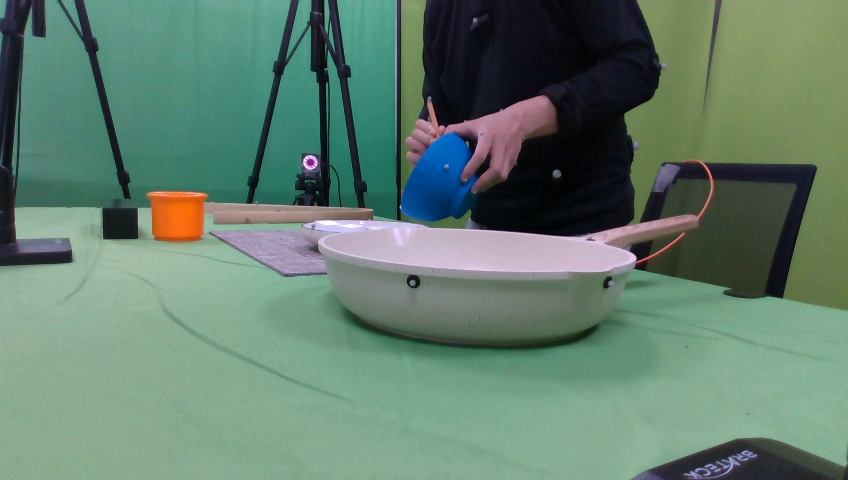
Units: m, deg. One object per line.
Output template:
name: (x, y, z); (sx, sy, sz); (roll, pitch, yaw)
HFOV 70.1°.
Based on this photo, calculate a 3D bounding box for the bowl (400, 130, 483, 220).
bowl: (0.038, -0.085, 0.938); (0.076, 0.151, 0.152); (33, 17, 17)

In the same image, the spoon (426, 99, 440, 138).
spoon: (0.020, -0.147, 0.960); (0.021, 0.193, 0.042); (-10, -29, 11)

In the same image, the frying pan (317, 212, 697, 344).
frying pan: (0.133, 0.013, 0.629); (0.490, 0.102, 0.305); (-12, 14, -31)

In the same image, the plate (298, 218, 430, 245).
plate: (-0.091, -0.006, 0.949); (0.208, 0.039, 0.207); (2, 7, 0)

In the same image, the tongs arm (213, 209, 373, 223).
tongs arm: (-0.274, -0.054, 1.347); (0.390, 0.028, 0.028); (-3, 6, -37)

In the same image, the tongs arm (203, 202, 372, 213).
tongs arm: (-0.312, -0.068, 1.418); (0.387, 0.026, 0.050); (1, 8, -24)
